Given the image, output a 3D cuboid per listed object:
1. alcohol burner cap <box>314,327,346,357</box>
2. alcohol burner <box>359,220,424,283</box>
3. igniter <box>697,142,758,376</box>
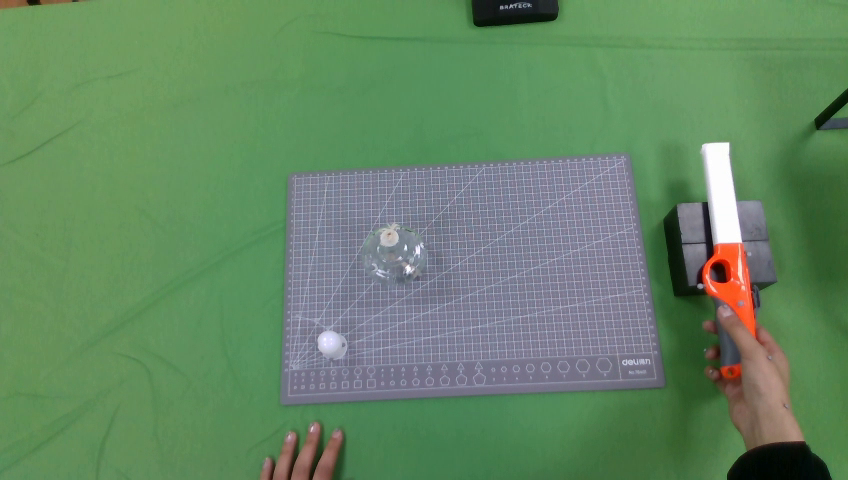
[{"bbox_3d":[-0.113,0.119,0.713,0.034,0.048,0.033,-1,72,4],"label":"alcohol burner cap"},{"bbox_3d":[-0.039,0.008,0.707,0.078,0.120,0.077,0,72,1],"label":"alcohol burner"},{"bbox_3d":[0.340,0.015,0.687,0.057,0.025,0.275,0,71,10],"label":"igniter"}]
